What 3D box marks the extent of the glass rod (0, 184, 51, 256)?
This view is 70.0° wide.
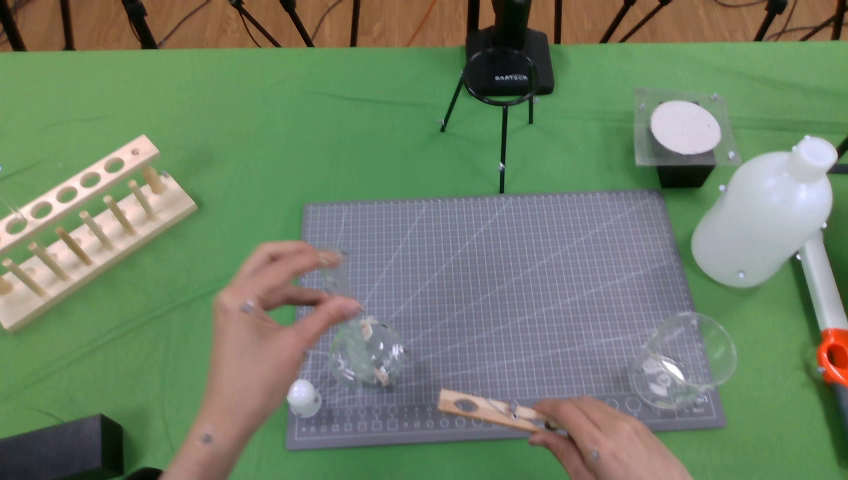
[{"bbox_3d":[-0.429,-0.041,0.624,0.008,0.201,0.008,2,52,-2],"label":"glass rod"}]

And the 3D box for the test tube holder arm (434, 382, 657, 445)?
[{"bbox_3d":[0.096,0.136,0.476,0.178,0.015,0.013,12,70,-2],"label":"test tube holder arm"}]

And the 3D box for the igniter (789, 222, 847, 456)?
[{"bbox_3d":[0.442,0.099,0.659,0.057,0.025,0.274,7,60,-8],"label":"igniter"}]

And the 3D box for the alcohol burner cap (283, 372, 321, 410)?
[{"bbox_3d":[-0.126,0.152,0.615,0.034,0.048,0.033,-2,62,3],"label":"alcohol burner cap"}]

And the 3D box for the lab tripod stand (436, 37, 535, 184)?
[{"bbox_3d":[0.084,-0.165,0.744,0.148,0.132,0.147,1,62,-1],"label":"lab tripod stand"}]

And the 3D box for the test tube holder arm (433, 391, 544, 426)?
[{"bbox_3d":[0.050,0.132,0.472,0.088,0.015,0.010,12,70,-2],"label":"test tube holder arm"}]

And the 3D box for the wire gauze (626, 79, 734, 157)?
[{"bbox_3d":[0.313,-0.151,0.752,0.121,0.011,0.124,4,61,2],"label":"wire gauze"}]

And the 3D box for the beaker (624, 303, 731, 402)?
[{"bbox_3d":[0.244,0.116,0.604,0.084,0.101,0.073,3,60,3],"label":"beaker"}]

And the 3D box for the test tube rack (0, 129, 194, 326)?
[{"bbox_3d":[-0.396,-0.016,0.685,0.242,0.086,0.066,-39,68,-20],"label":"test tube rack"}]

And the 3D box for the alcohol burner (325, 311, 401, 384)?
[{"bbox_3d":[-0.062,0.101,0.603,0.078,0.120,0.077,1,59,-2],"label":"alcohol burner"}]

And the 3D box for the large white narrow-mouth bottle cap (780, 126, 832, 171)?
[{"bbox_3d":[0.356,-0.086,0.567,0.038,0.024,0.037,0,60,0],"label":"large white narrow-mouth bottle cap"}]

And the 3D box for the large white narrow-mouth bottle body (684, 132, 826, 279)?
[{"bbox_3d":[0.356,-0.042,0.641,0.102,0.196,0.101,0,60,0],"label":"large white narrow-mouth bottle body"}]

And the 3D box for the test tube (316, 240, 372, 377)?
[{"bbox_3d":[-0.056,0.057,0.444,0.017,0.152,0.017,-3,46,4],"label":"test tube"}]
